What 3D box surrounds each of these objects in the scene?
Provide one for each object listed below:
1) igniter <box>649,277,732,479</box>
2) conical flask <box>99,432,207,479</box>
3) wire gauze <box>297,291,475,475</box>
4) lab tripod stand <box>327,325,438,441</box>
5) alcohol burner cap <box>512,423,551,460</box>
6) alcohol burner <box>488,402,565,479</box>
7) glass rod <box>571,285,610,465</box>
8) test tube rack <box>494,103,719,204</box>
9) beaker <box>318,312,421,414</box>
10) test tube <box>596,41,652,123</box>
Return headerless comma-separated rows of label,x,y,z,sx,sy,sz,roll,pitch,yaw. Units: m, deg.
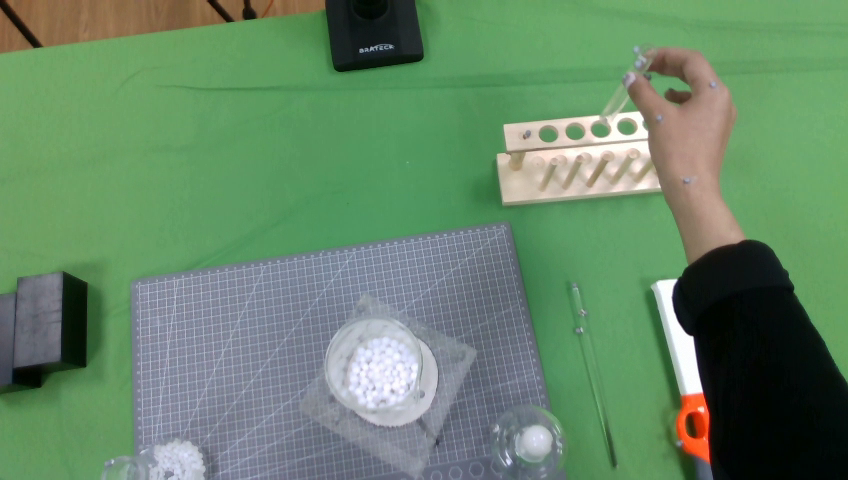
igniter,0.291,0.175,0.655,0.057,0.025,0.274,-3,72,-12
conical flask,-0.266,0.225,0.588,0.075,0.122,0.075,0,72,0
wire gauze,-0.033,0.125,0.544,0.125,0.011,0.121,27,77,7
lab tripod stand,-0.035,0.143,0.608,0.148,0.132,0.147,0,74,1
alcohol burner cap,0.102,0.186,0.566,0.034,0.048,0.033,1,65,-2
alcohol burner,0.103,0.199,0.600,0.078,0.120,0.077,-1,72,3
glass rod,0.185,0.147,0.675,0.008,0.008,0.198,-7,75,-2
test tube rack,0.210,-0.100,0.713,0.242,0.085,0.066,-5,72,-1
beaker,-0.037,0.107,0.499,0.083,0.101,0.074,40,77,12
test tube,0.185,-0.144,0.571,0.017,0.151,0.017,0,79,3
